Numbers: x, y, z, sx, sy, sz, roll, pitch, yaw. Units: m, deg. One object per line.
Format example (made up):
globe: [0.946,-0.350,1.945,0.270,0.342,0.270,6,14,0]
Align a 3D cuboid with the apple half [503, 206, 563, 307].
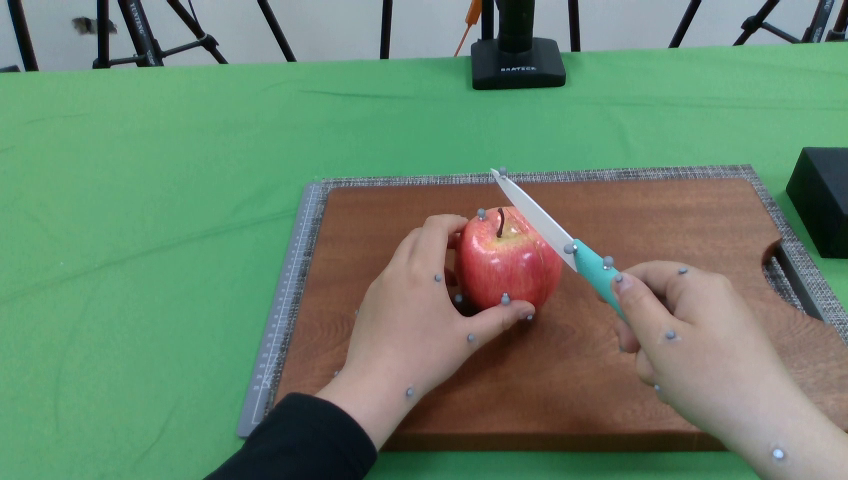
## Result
apple half: [0.085,0.010,0.457,0.033,0.082,0.080,-20,44,-11]

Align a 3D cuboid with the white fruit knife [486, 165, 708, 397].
white fruit knife: [0.098,0.012,0.383,0.016,0.028,0.205,-24,52,-22]

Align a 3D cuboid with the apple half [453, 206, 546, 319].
apple half: [0.049,0.022,0.449,0.053,0.075,0.080,-20,48,-10]
